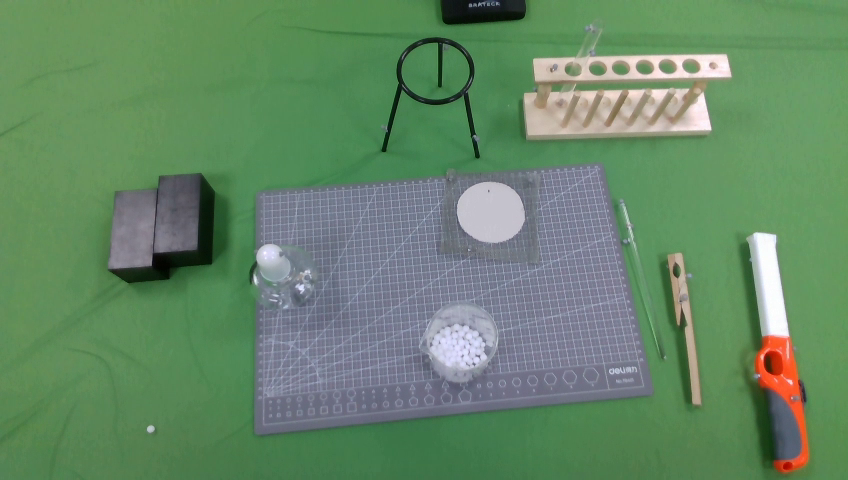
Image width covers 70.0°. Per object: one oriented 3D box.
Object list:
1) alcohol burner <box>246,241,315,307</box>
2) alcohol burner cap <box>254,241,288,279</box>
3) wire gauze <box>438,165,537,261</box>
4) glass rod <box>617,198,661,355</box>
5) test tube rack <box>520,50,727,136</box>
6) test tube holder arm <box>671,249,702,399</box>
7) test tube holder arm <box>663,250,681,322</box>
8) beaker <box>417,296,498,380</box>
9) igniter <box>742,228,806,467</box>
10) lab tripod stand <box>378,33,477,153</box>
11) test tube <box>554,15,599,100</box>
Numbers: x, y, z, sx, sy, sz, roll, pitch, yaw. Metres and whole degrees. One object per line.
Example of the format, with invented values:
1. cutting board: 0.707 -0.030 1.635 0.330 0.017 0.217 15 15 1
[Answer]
1. alcohol burner: -0.165 0.032 0.678 0.078 0.120 0.077 -1 69 2
2. alcohol burner cap: -0.165 0.018 0.644 0.034 0.048 0.033 2 65 -4
3. wire gauze: 0.081 -0.038 0.763 0.125 0.011 0.120 6 71 1
4. glass rod: 0.261 0.041 0.738 0.008 0.008 0.198 -7 73 -4
5. test tube rack: 0.252 -0.188 0.781 0.242 0.086 0.066 -2 70 -1
6. test tube holder arm: 0.307 0.096 0.711 0.013 0.015 0.177 -15 67 32
7. test tube holder arm: 0.301 0.055 0.729 0.010 0.015 0.087 -14 67 32
8. beaker: 0.034 0.112 0.659 0.084 0.101 0.073 -13 70 -4
9. igniter: 0.403 0.117 0.702 0.057 0.025 0.274 6 70 -9
10. lab tripod stand: 0.007 -0.174 0.748 0.148 0.132 0.147 0 72 0
11. test tube: 0.183 -0.217 0.738 0.017 0.151 0.017 1 70 -3
